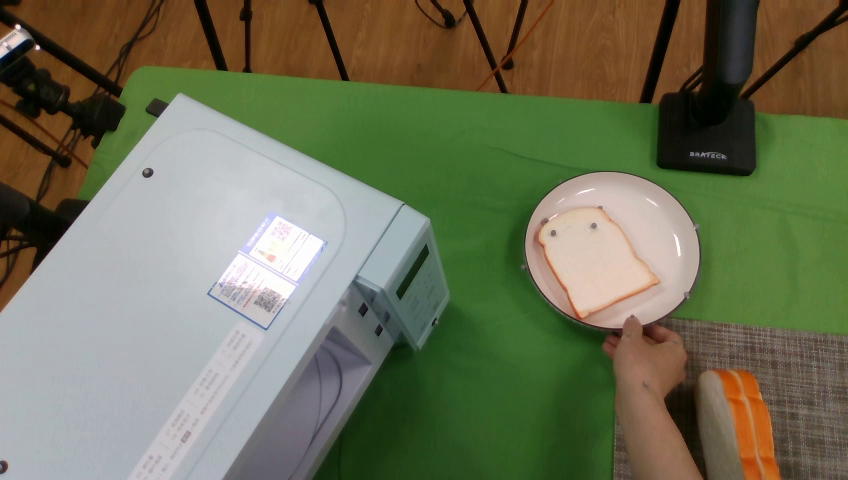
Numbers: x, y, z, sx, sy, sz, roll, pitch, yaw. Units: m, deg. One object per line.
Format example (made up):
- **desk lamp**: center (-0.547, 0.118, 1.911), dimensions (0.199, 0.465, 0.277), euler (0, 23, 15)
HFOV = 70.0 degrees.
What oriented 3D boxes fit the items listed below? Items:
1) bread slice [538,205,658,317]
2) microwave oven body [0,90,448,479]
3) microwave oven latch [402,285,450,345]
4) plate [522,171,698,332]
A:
- **bread slice**: center (0.202, 0.021, 0.745), dimensions (0.107, 0.018, 0.133), euler (-27, 66, -8)
- **microwave oven body**: center (-0.226, 0.128, 0.632), dimensions (0.324, 0.262, 0.440), euler (27, 74, 16)
- **microwave oven latch**: center (0.002, 0.085, 0.726), dimensions (0.030, 0.030, 0.079), euler (29, 75, 17)
- **plate**: center (0.225, 0.015, 0.747), dimensions (0.207, 0.039, 0.206), euler (-2, 68, 6)
